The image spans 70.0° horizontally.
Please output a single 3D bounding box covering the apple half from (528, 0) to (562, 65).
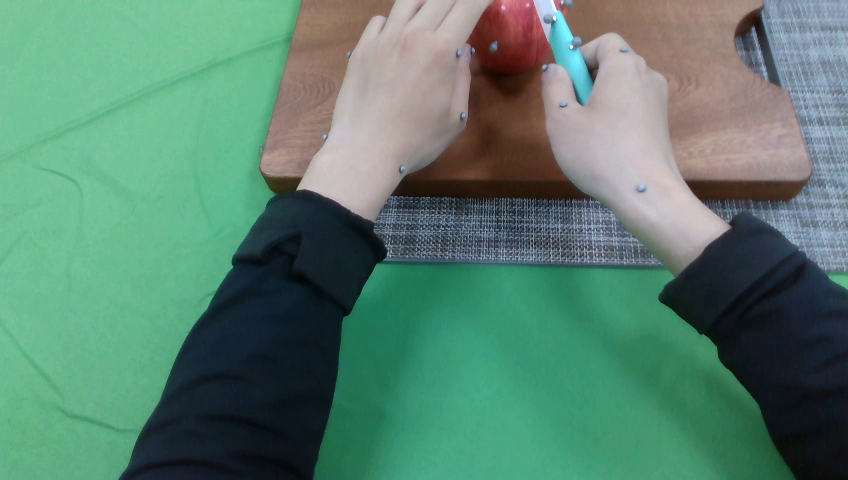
[{"bbox_3d":[0.089,-0.178,0.468,0.033,0.082,0.080,-11,60,5],"label":"apple half"}]

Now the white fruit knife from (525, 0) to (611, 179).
[{"bbox_3d":[0.084,-0.141,0.408,0.016,0.027,0.206,-15,79,-17],"label":"white fruit knife"}]

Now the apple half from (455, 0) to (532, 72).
[{"bbox_3d":[0.051,-0.171,0.469,0.053,0.075,0.080,-11,64,5],"label":"apple half"}]
